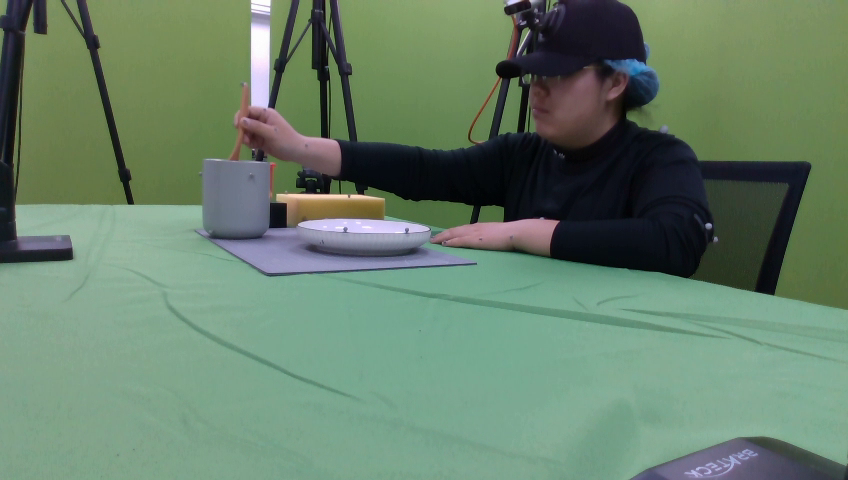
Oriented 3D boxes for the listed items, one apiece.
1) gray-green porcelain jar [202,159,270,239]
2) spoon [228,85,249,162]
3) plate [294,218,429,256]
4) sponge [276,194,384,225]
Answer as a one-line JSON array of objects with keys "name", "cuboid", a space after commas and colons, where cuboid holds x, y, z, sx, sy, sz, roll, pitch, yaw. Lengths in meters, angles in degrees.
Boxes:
[{"name": "gray-green porcelain jar", "cuboid": [-0.310, -0.068, 0.999, 0.106, 0.126, 0.106, 3, 8, 0]}, {"name": "spoon", "cuboid": [-0.312, -0.164, 1.013, 0.021, 0.193, 0.042, 10, -2, 38]}, {"name": "plate", "cuboid": [-0.096, -0.005, 0.936, 0.208, 0.039, 0.207, 3, 7, 0]}, {"name": "sponge", "cuboid": [-0.203, -0.066, 1.312, 0.208, 0.061, 0.117, -2, 8, -35]}]
